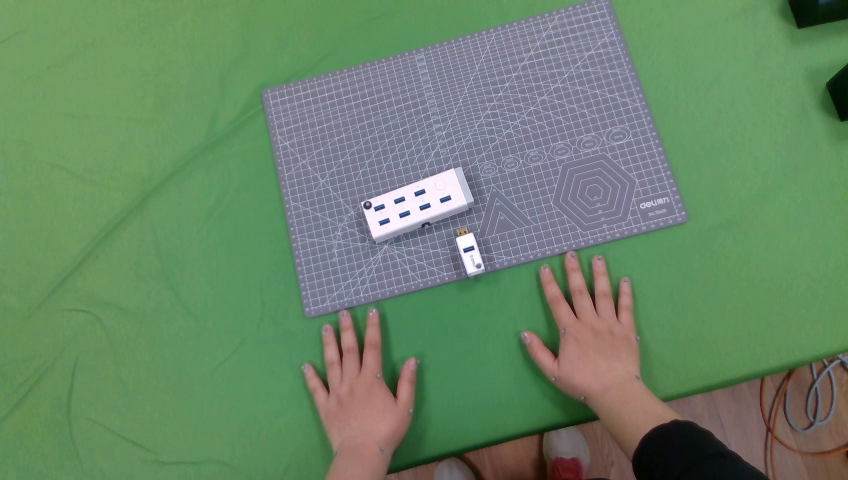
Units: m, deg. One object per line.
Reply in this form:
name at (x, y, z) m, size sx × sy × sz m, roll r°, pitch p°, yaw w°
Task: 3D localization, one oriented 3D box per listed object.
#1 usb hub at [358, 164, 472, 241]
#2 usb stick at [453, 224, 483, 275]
usb hub at (-0.011, -0.044, 0.704) m, size 0.125 × 0.025 × 0.049 m, roll -20°, pitch 76°, yaw 1°
usb stick at (0.048, 0.008, 0.687) m, size 0.021 × 0.027 × 0.059 m, roll -20°, pitch 73°, yaw 5°
